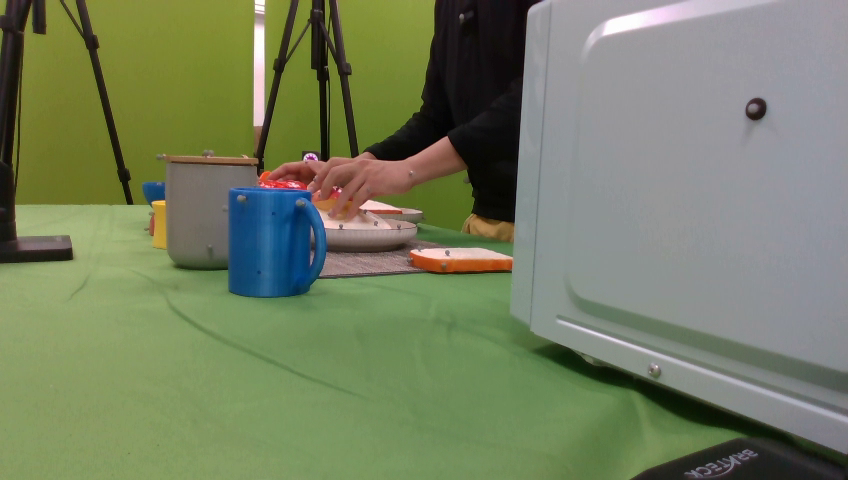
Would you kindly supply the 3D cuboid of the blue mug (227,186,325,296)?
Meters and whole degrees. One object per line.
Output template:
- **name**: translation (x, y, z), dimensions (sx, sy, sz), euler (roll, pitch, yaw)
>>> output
- **blue mug**: translation (-0.147, 0.000, 0.618), dimensions (0.116, 0.106, 0.083), euler (7, 9, 32)

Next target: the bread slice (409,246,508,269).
- **bread slice**: translation (0.048, 0.022, 0.816), dimensions (0.132, 0.019, 0.104), euler (0, 7, -24)

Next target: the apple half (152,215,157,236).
- **apple half**: translation (-0.416, -0.034, 1.017), dimensions (0.081, 0.053, 0.074), euler (1, 10, -9)

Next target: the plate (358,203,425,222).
- **plate**: translation (-0.102, -0.053, 1.299), dimensions (0.209, 0.038, 0.209), euler (2, 8, 0)

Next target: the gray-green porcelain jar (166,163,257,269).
- **gray-green porcelain jar**: translation (-0.263, -0.031, 0.754), dimensions (0.106, 0.126, 0.106), euler (2, 7, 0)

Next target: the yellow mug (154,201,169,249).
- **yellow mug**: translation (-0.337, -0.022, 0.899), dimensions (0.130, 0.064, 0.100), euler (8, 9, 34)

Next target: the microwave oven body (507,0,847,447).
- **microwave oven body**: translation (0.331, -0.042, 0.425), dimensions (0.444, 0.260, 0.324), euler (-2, 8, -31)

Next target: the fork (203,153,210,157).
- **fork**: translation (-0.480, -0.135, 1.411), dimensions (0.028, 0.018, 0.207), euler (1, -34, 0)

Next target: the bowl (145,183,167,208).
- **bowl**: translation (-0.459, -0.069, 1.175), dimensions (0.151, 0.077, 0.151), euler (3, 7, 0)

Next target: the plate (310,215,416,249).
- **plate**: translation (-0.116, -0.014, 0.967), dimensions (0.208, 0.039, 0.207), euler (2, 7, 0)

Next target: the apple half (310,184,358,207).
- **apple half**: translation (-0.146, -0.073, 0.991), dimensions (0.081, 0.032, 0.081), euler (-1, -10, 0)

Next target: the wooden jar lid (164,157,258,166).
- **wooden jar lid**: translation (-0.261, -0.093, 0.746), dimensions (0.108, 0.020, 0.108), euler (0, 9, 0)

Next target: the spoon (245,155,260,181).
- **spoon**: translation (-0.421, -0.150, 1.540), dimensions (0.042, 0.021, 0.193), euler (-5, 55, -37)

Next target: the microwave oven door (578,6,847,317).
- **microwave oven door**: translation (0.294, -0.067, 0.570), dimensions (0.358, 0.243, 0.039), euler (-3, 9, -31)

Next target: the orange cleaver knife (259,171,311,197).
- **orange cleaver knife**: translation (-0.283, -0.087, 1.343), dimensions (0.212, 0.077, 0.012), euler (24, -16, -41)

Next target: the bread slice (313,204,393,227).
- **bread slice**: translation (-0.117, -0.030, 0.964), dimensions (0.106, 0.018, 0.135), euler (33, 23, 35)

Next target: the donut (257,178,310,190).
- **donut**: translation (-0.257, -0.089, 1.095), dimensions (0.099, 0.048, 0.099), euler (1, 6, 0)

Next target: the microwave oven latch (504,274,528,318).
- **microwave oven latch**: translation (0.100, 0.041, 0.470), dimensions (0.079, 0.029, 0.030), euler (-1, 7, -27)
